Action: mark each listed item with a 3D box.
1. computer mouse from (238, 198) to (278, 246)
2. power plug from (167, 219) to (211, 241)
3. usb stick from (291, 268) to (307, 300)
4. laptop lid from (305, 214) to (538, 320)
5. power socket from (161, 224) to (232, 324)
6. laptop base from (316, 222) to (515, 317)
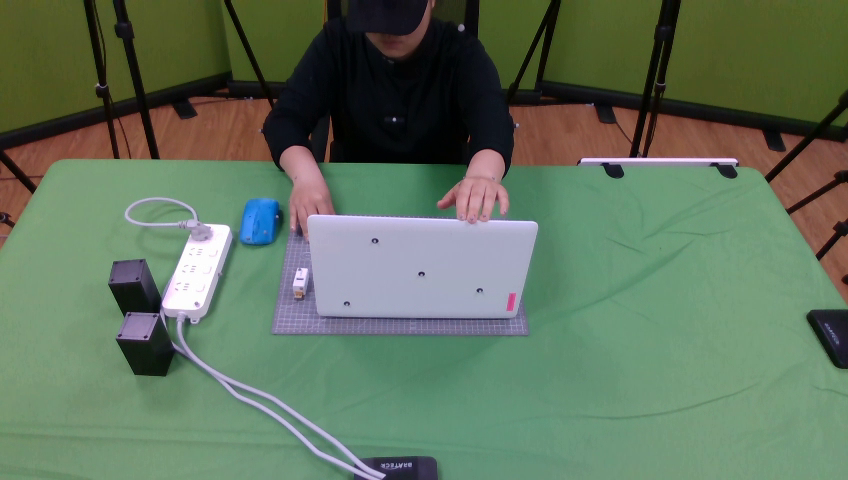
[{"bbox_3d":[-0.328,-0.039,1.200,0.063,0.041,0.116,3,50,-4],"label":"computer mouse"},{"bbox_3d":[-0.438,-0.017,1.143,0.072,0.053,0.035,10,44,7],"label":"power plug"},{"bbox_3d":[-0.227,0.081,1.094,0.021,0.027,0.059,4,48,-1],"label":"usb stick"},{"bbox_3d":[-0.007,0.051,0.980,0.357,0.243,0.013,2,43,-4],"label":"laptop lid"},{"bbox_3d":[-0.412,0.052,1.107,0.072,0.033,0.225,4,46,-2],"label":"power socket"},{"bbox_3d":[-0.016,0.053,1.145,0.354,0.023,0.234,1,42,-3],"label":"laptop base"}]
